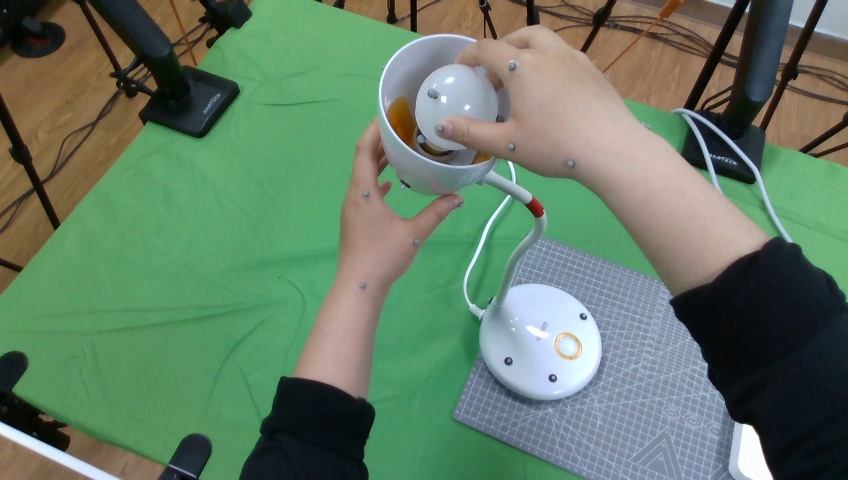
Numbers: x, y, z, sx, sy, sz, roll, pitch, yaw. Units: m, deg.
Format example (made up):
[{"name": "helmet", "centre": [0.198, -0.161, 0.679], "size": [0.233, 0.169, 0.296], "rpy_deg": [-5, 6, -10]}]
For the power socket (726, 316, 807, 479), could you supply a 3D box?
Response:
[{"name": "power socket", "centre": [0.430, 0.197, 0.758], "size": [0.072, 0.033, 0.225], "rpy_deg": [20, 61, 9]}]

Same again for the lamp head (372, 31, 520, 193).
[{"name": "lamp head", "centre": [0.013, -0.087, 0.495], "size": [0.112, 0.123, 0.111], "rpy_deg": [1, 70, -4]}]

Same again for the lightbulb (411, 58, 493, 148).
[{"name": "lightbulb", "centre": [0.016, -0.096, 0.463], "size": [0.060, 0.108, 0.059], "rpy_deg": [2, 78, -12]}]

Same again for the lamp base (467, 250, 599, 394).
[{"name": "lamp base", "centre": [0.138, 0.081, 0.730], "size": [0.179, 0.182, 0.159], "rpy_deg": [15, 60, 10]}]
